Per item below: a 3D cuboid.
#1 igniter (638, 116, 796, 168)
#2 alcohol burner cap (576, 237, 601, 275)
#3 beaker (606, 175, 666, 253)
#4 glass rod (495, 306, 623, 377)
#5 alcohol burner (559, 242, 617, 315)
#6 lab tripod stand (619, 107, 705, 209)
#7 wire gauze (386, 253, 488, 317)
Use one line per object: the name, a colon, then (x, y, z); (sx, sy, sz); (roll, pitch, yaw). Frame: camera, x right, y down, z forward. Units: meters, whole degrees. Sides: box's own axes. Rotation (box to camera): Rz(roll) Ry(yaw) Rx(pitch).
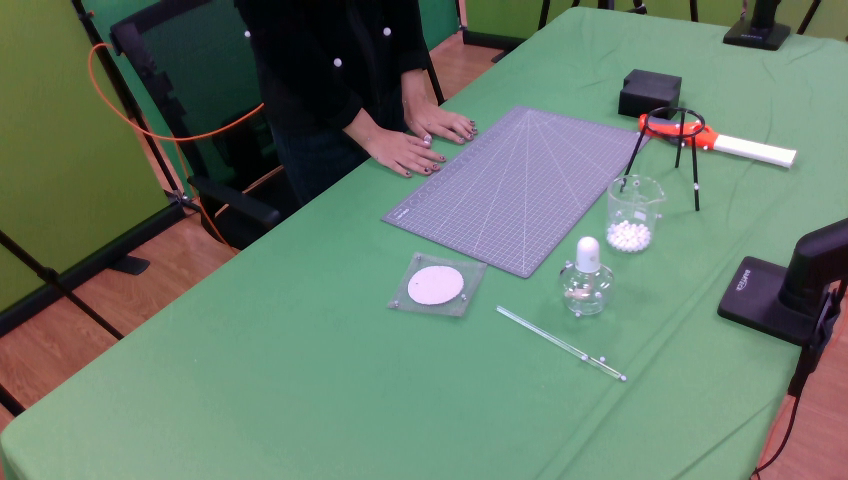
igniter: (0.517, -0.181, 1.093); (0.274, 0.025, 0.057); (23, 65, 32)
alcohol burner cap: (0.216, 0.018, 0.793); (0.034, 0.048, 0.033); (-7, 35, 6)
beaker: (0.314, -0.036, 0.906); (0.083, 0.101, 0.074); (15, 46, 25)
glass rod: (0.174, 0.132, 0.804); (0.198, 0.008, 0.008); (27, 52, 35)
alcohol burner: (0.222, 0.045, 0.816); (0.078, 0.119, 0.077); (-4, 42, 4)
lab tripod stand: (0.400, -0.136, 0.981); (0.148, 0.132, 0.147); (-4, 41, 4)
wire gauze: (0.021, 0.067, 0.910); (0.121, 0.011, 0.125); (9, 41, 20)
